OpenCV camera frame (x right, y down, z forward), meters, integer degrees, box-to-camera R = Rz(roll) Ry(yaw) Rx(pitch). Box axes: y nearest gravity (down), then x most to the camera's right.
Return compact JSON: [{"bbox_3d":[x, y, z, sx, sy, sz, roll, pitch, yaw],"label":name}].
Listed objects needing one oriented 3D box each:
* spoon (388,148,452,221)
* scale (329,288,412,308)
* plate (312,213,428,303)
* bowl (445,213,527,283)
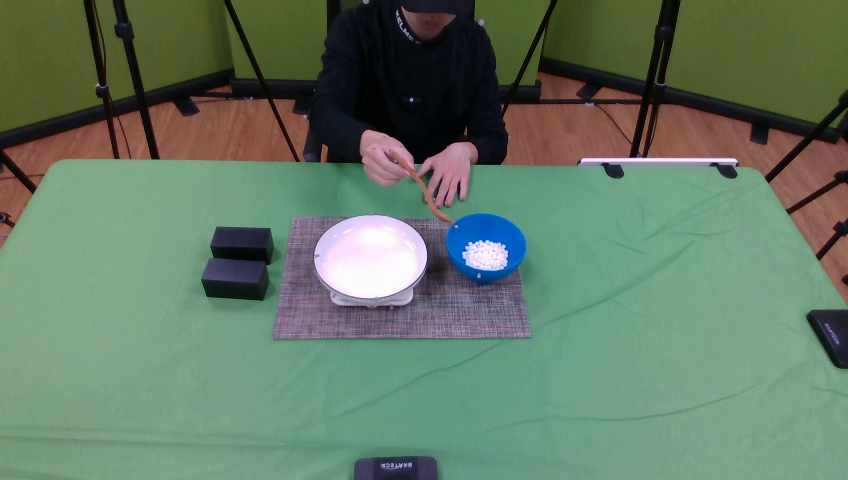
[{"bbox_3d":[-0.006,-0.098,1.097,0.021,0.195,0.041,-36,33,2],"label":"spoon"},{"bbox_3d":[-0.098,0.042,1.139,0.149,0.032,0.199,1,46,-4],"label":"scale"},{"bbox_3d":[-0.097,0.036,1.100,0.209,0.038,0.208,2,46,-1],"label":"plate"},{"bbox_3d":[0.112,0.027,1.136,0.151,0.077,0.150,2,46,-2],"label":"bowl"}]
